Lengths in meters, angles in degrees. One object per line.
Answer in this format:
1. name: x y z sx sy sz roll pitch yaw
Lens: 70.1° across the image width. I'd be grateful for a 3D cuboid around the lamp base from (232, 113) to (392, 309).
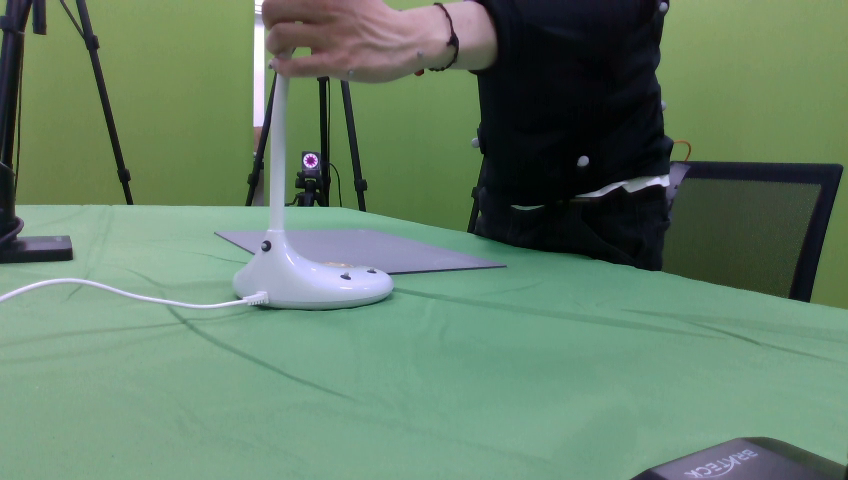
1. lamp base: -0.113 -0.031 0.594 0.160 0.180 0.179 4 10 18
